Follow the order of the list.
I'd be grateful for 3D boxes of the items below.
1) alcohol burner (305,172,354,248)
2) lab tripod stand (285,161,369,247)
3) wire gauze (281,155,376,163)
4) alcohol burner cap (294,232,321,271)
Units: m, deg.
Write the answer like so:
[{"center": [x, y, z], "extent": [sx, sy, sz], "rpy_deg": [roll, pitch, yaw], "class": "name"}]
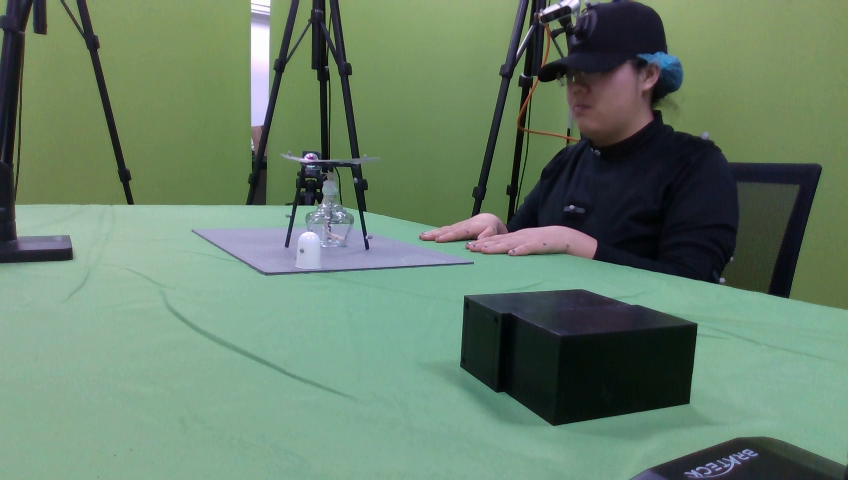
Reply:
[{"center": [-0.148, -0.048, 0.949], "extent": [0.078, 0.119, 0.078], "rpy_deg": [1, 6, 0], "class": "alcohol burner"}, {"center": [-0.151, -0.058, 0.947], "extent": [0.148, 0.131, 0.148], "rpy_deg": [1, 6, 0], "class": "lab tripod stand"}, {"center": [-0.147, -0.124, 0.936], "extent": [0.122, 0.011, 0.124], "rpy_deg": [-2, 7, -32], "class": "wire gauze"}, {"center": [-0.144, 0.013, 0.748], "extent": [0.034, 0.048, 0.034], "rpy_deg": [3, 6, 0], "class": "alcohol burner cap"}]
